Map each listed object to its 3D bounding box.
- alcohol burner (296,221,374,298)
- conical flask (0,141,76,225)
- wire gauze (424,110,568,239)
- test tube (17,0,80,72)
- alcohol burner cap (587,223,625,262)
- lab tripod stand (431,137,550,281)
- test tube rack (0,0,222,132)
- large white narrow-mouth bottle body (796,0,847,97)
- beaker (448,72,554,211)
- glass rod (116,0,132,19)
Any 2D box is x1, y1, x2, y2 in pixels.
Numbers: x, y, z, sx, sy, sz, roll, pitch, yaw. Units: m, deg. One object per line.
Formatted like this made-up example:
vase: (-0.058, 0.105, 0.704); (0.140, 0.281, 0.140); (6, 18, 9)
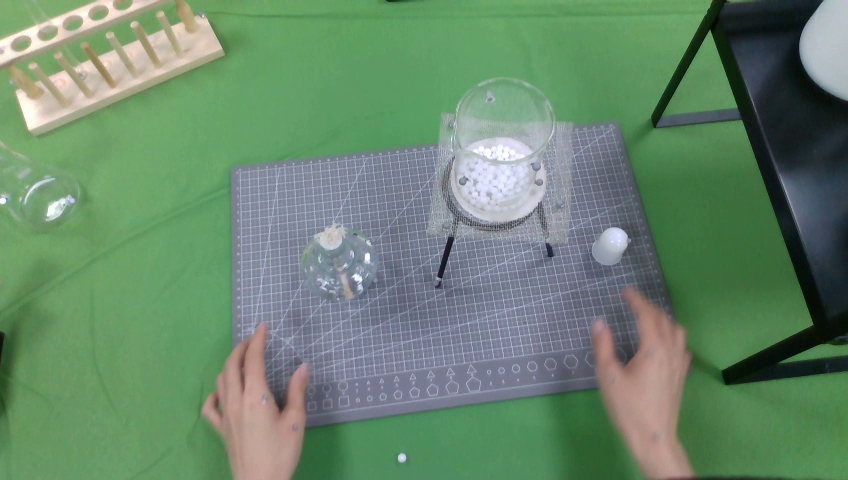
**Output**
alcohol burner: (-0.088, 0.014, 0.590); (0.078, 0.120, 0.077); (0, 66, 0)
conical flask: (-0.428, -0.071, 0.627); (0.075, 0.123, 0.075); (0, 68, 1)
wire gauze: (0.066, -0.059, 0.535); (0.121, 0.011, 0.124); (6, 67, 1)
test tube: (-0.418, -0.240, 0.661); (0.017, 0.151, 0.017); (0, 61, 1)
alcohol burner cap: (0.191, 0.000, 0.630); (0.034, 0.048, 0.033); (0, 67, 1)
lab tripod stand: (0.062, -0.029, 0.594); (0.148, 0.132, 0.147); (0, 67, 0)
test tube rack: (-0.374, -0.223, 0.707); (0.242, 0.086, 0.066); (-27, 70, -10)
large white narrow-mouth bottle body: (0.364, -0.193, 0.432); (0.102, 0.196, 0.101); (-1, 68, 2)
beaker: (0.055, -0.072, 0.488); (0.084, 0.101, 0.073); (-29, 71, -10)
glass rod: (-0.350, -0.289, 0.661); (0.008, 0.201, 0.008); (-2, 60, 3)
